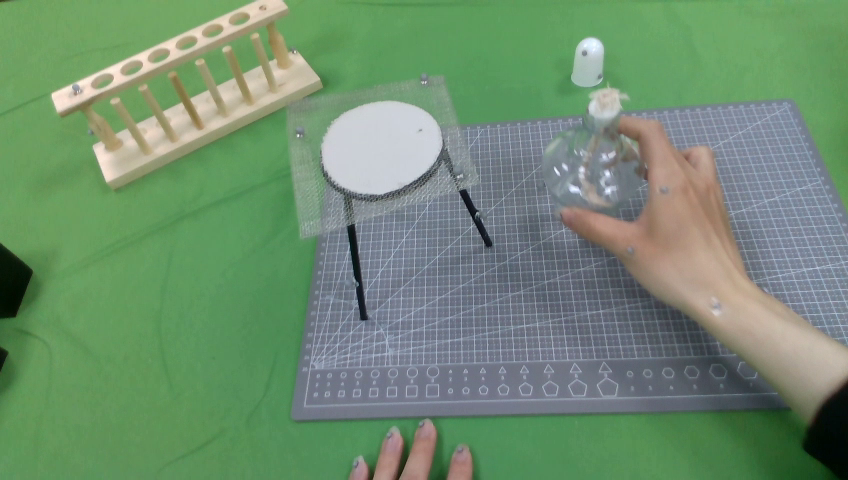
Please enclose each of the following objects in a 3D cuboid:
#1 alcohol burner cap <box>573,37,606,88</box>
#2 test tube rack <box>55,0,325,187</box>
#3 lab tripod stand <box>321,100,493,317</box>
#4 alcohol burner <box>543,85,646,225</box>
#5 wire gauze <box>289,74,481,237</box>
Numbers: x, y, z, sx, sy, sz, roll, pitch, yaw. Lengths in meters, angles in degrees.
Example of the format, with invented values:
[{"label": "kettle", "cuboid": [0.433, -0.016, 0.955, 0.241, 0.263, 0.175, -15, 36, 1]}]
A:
[{"label": "alcohol burner cap", "cuboid": [0.170, -0.182, 0.613, 0.034, 0.048, 0.033, -4, 56, 7]}, {"label": "test tube rack", "cuboid": [-0.233, -0.157, 0.627, 0.242, 0.086, 0.066, -29, 57, -12]}, {"label": "lab tripod stand", "cuboid": [-0.021, -0.027, 0.474, 0.148, 0.133, 0.147, -3, 57, 5]}, {"label": "alcohol burner", "cuboid": [0.129, -0.066, 0.454, 0.078, 0.120, 0.077, -3, 54, 5]}, {"label": "wire gauze", "cuboid": [-0.032, -0.067, 0.420, 0.121, 0.011, 0.124, -13, 56, 0]}]
